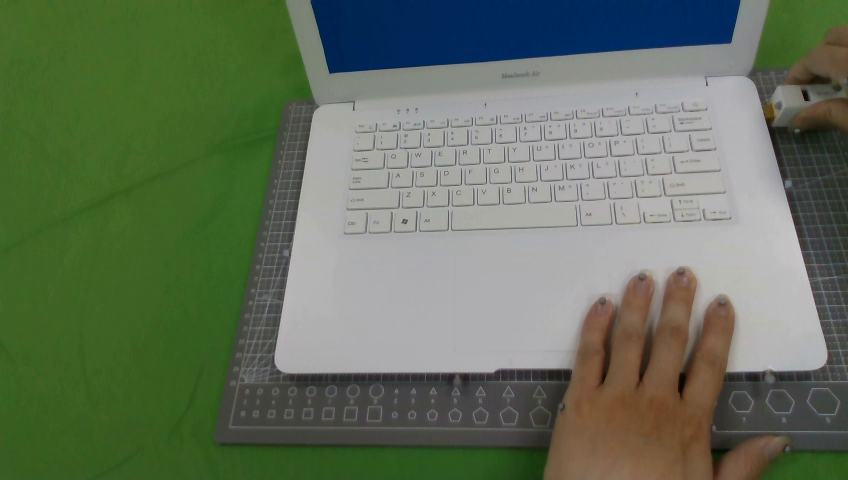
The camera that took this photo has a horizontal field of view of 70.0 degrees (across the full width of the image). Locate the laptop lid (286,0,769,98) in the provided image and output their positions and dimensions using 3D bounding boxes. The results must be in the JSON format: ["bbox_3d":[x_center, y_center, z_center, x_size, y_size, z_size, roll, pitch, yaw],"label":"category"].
[{"bbox_3d":[0.066,-0.208,0.418,0.356,0.244,0.013,-3,44,9],"label":"laptop lid"}]

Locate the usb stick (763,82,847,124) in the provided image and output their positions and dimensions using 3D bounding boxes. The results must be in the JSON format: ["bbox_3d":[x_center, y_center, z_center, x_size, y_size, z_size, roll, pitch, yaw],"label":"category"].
[{"bbox_3d":[0.273,-0.101,0.446,0.059,0.027,0.021,-1,62,10],"label":"usb stick"}]

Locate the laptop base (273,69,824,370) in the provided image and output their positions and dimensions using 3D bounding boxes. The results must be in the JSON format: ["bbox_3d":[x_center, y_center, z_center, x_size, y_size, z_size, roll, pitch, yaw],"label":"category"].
[{"bbox_3d":[0.075,-0.019,0.444,0.354,0.023,0.233,-2,65,8],"label":"laptop base"}]
